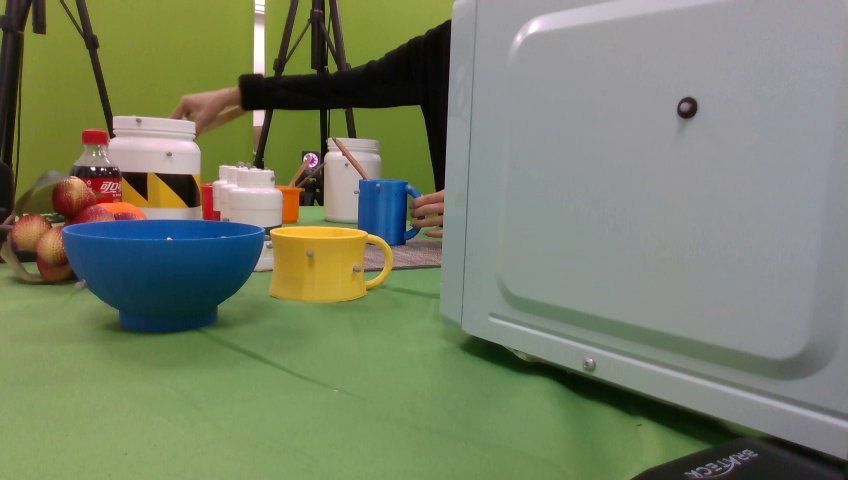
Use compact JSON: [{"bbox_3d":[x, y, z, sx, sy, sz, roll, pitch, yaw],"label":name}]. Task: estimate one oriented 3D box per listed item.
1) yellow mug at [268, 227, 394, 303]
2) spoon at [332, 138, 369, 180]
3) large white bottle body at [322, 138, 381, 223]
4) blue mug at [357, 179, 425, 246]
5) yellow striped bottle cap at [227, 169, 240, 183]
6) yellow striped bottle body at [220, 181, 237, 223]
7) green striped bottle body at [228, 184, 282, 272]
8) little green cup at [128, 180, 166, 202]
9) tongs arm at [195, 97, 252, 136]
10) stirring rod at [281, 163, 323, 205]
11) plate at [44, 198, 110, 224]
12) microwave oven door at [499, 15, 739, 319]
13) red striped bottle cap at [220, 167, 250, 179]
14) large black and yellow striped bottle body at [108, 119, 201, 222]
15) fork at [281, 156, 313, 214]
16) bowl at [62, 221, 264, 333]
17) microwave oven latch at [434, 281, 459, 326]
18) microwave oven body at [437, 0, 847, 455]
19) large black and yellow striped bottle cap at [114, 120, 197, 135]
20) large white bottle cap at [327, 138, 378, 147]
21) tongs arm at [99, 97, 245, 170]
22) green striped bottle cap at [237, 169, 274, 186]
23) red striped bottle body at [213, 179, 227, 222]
[{"bbox_3d":[-0.094,0.023,0.629,0.131,0.064,0.099,0,6,-22],"label":"yellow mug"},{"bbox_3d":[-0.096,-0.093,1.014,0.021,0.193,0.042,-32,-1,16],"label":"spoon"},{"bbox_3d":[-0.163,-0.135,1.368,0.131,0.184,0.130,3,7,0],"label":"large white bottle body"},{"bbox_3d":[-0.054,-0.046,1.004,0.116,0.106,0.082,5,8,15],"label":"blue mug"},{"bbox_3d":[-0.243,-0.086,0.818,0.044,0.018,0.044,3,7,0],"label":"yellow striped bottle cap"},{"bbox_3d":[-0.246,-0.036,0.825,0.063,0.120,0.063,2,8,0],"label":"yellow striped bottle body"},{"bbox_3d":[-0.208,-0.024,0.745,0.063,0.119,0.063,2,7,0],"label":"green striped bottle body"},{"bbox_3d":[-0.485,-0.087,1.062,0.061,0.038,0.061,-1,6,0],"label":"little green cup"},{"bbox_3d":[-0.510,-0.235,1.299,0.050,0.026,0.386,13,35,32],"label":"tongs arm"},{"bbox_3d":[-0.278,-0.104,1.294,0.176,0.006,0.014,-47,24,-17],"label":"stirring rod"},{"bbox_3d":[-0.617,-0.056,1.179,0.209,0.038,0.209,3,7,0],"label":"plate"},{"bbox_3d":[0.216,-0.065,0.602,0.358,0.243,0.039,-4,11,-41],"label":"microwave oven door"},{"bbox_3d":[-0.281,-0.100,0.901,0.044,0.017,0.044,-1,5,0],"label":"red striped bottle cap"},{"bbox_3d":[-0.412,-0.088,0.930,0.131,0.184,0.130,3,7,0],"label":"large black and yellow striped bottle body"},{"bbox_3d":[-0.289,-0.116,1.320,0.028,0.019,0.207,-2,48,27],"label":"fork"},{"bbox_3d":[-0.209,0.029,0.496,0.151,0.077,0.151,2,7,0],"label":"bowl"},{"bbox_3d":[0.044,0.045,0.470,0.079,0.029,0.030,-3,8,-39],"label":"microwave oven latch"},{"bbox_3d":[0.279,-0.040,0.464,0.444,0.260,0.324,-3,9,-41],"label":"microwave oven body"},{"bbox_3d":[-0.407,-0.171,0.920,0.115,0.019,0.115,2,9,0],"label":"large black and yellow striped bottle cap"},{"bbox_3d":[-0.160,-0.218,1.356,0.115,0.018,0.115,2,8,0],"label":"large white bottle cap"},{"bbox_3d":[-0.530,-0.239,1.309,0.028,0.028,0.388,7,32,30],"label":"tongs arm"},{"bbox_3d":[-0.205,-0.075,0.737,0.044,0.020,0.044,2,4,0],"label":"green striped bottle cap"},{"bbox_3d":[-0.284,-0.048,0.909,0.063,0.119,0.063,3,10,0],"label":"red striped bottle body"}]
